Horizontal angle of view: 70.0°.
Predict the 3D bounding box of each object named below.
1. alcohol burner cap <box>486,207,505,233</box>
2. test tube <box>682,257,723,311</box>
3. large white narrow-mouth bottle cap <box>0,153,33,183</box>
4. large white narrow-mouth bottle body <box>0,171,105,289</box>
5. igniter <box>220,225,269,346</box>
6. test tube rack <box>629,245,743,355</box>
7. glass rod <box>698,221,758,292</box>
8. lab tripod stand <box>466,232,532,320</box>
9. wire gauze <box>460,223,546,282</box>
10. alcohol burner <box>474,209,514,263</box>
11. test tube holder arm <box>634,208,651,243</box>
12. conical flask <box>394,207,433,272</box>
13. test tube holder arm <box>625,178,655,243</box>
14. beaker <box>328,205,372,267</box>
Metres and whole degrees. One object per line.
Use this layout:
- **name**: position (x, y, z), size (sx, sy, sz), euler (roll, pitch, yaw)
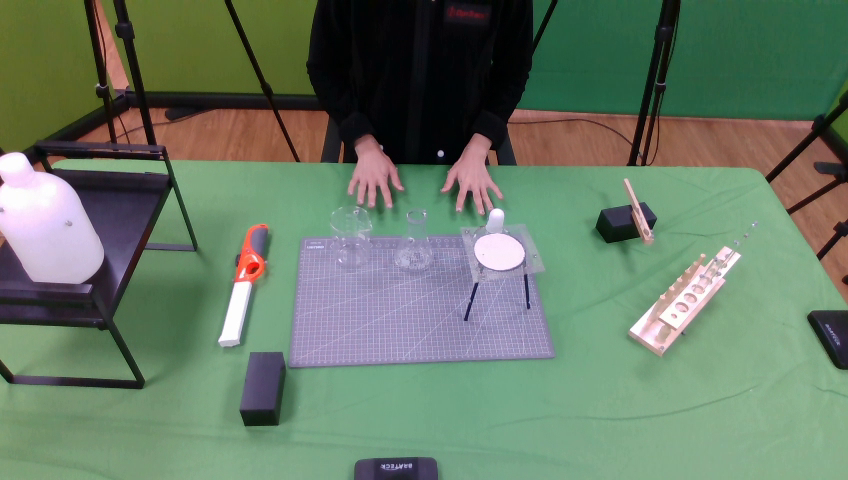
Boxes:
- **alcohol burner cap**: position (0.135, -0.039, 1.125), size (0.034, 0.048, 0.033), euler (4, 42, -4)
- **test tube**: position (0.475, 0.080, 1.037), size (0.017, 0.151, 0.017), euler (1, 50, -1)
- **large white narrow-mouth bottle cap**: position (-0.510, -0.090, 0.754), size (0.038, 0.024, 0.037), euler (2, 46, -2)
- **large white narrow-mouth bottle body**: position (-0.513, -0.029, 0.818), size (0.102, 0.195, 0.101), euler (2, 46, -2)
- **igniter**: position (-0.323, 0.072, 1.100), size (0.057, 0.025, 0.275), euler (-6, 46, 5)
- **test tube rack**: position (0.474, 0.095, 1.091), size (0.242, 0.085, 0.066), euler (-34, 56, -31)
- **glass rod**: position (0.527, 0.035, 1.059), size (0.008, 0.200, 0.008), euler (5, 49, -6)
- **lab tripod stand**: position (0.125, 0.059, 1.065), size (0.148, 0.132, 0.147), euler (1, 45, 0)
- **wire gauze**: position (0.131, 0.016, 1.015), size (0.121, 0.011, 0.124), euler (-5, 45, -8)
- **alcohol burner**: position (0.134, -0.013, 1.150), size (0.078, 0.120, 0.077), euler (0, 47, 0)
- **test tube holder arm**: position (0.428, -0.030, 1.189), size (0.010, 0.015, 0.087), euler (1, 47, -2)
- **conical flask**: position (-0.017, -0.005, 1.125), size (0.075, 0.122, 0.075), euler (2, 46, -2)
- **test tube holder arm**: position (0.433, -0.063, 1.220), size (0.013, 0.015, 0.177), euler (1, 47, -3)
- **beaker**: position (-0.135, -0.004, 1.132), size (0.084, 0.101, 0.073), euler (18, 48, 12)
